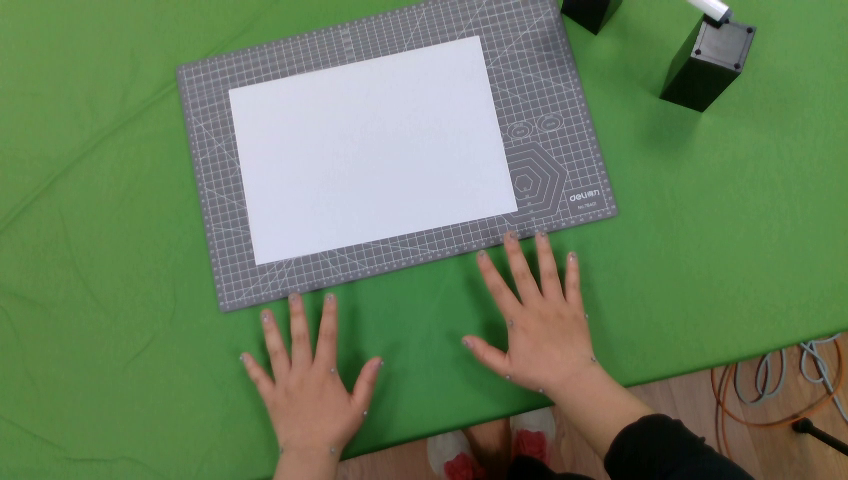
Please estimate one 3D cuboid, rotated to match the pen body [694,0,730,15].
[{"bbox_3d":[0.227,-0.260,0.579,0.143,0.017,0.017,38,86,8],"label":"pen body"}]
